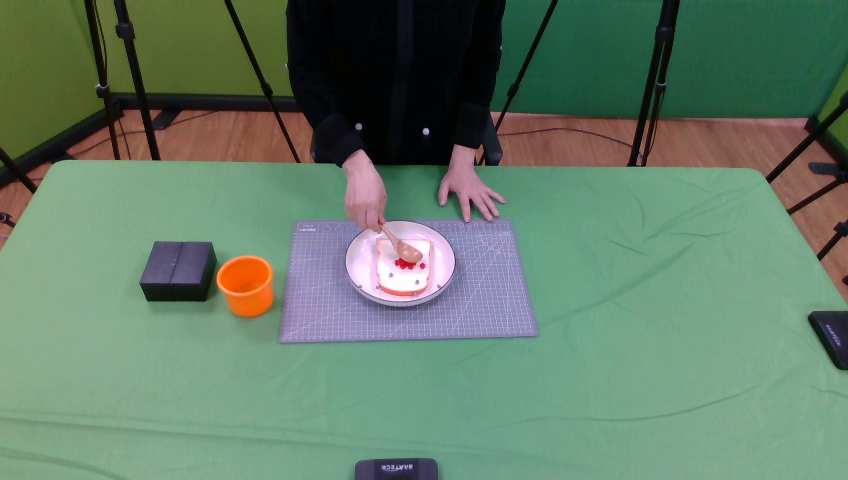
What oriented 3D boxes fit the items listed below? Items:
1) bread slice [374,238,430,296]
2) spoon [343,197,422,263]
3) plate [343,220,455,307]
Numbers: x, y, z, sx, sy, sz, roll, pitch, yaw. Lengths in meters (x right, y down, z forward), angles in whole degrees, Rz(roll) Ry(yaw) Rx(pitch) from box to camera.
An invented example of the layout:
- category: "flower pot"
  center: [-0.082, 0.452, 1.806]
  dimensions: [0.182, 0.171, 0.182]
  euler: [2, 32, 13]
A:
- category: "bread slice"
  center: [-0.039, 0.048, 1.135]
  dimensions: [0.107, 0.018, 0.133]
  euler: [-1, 47, -4]
- category: "spoon"
  center: [-0.080, -0.021, 1.136]
  dimensions: [0.193, 0.022, 0.041]
  euler: [42, 56, 10]
- category: "plate"
  center: [-0.047, 0.046, 1.135]
  dimensions: [0.209, 0.038, 0.208]
  euler: [2, 46, -2]
